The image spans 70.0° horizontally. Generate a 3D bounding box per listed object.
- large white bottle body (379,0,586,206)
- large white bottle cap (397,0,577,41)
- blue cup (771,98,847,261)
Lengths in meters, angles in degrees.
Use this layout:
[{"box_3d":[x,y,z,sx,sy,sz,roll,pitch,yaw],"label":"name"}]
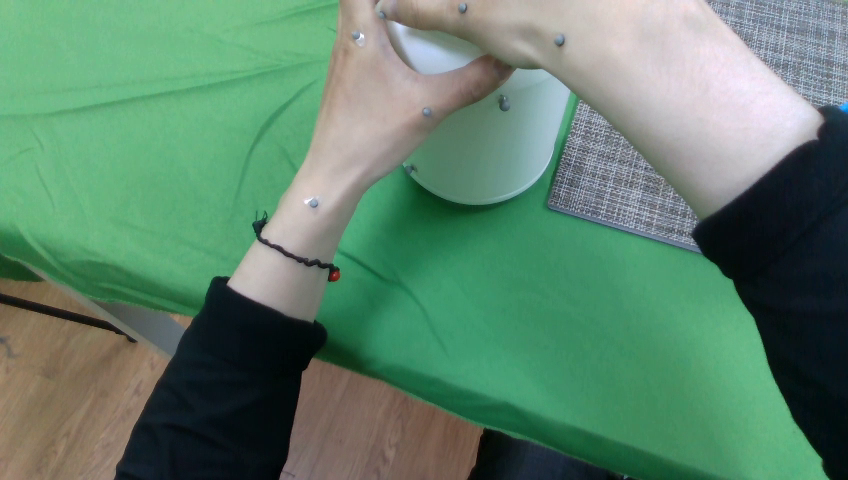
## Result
[{"box_3d":[0.037,-0.122,0.422,0.130,0.186,0.129,0,63,1],"label":"large white bottle body"},{"box_3d":[0.036,-0.161,0.347,0.115,0.018,0.114,0,63,1],"label":"large white bottle cap"},{"box_3d":[0.293,-0.033,0.418,0.092,0.101,0.092,-1,62,2],"label":"blue cup"}]
